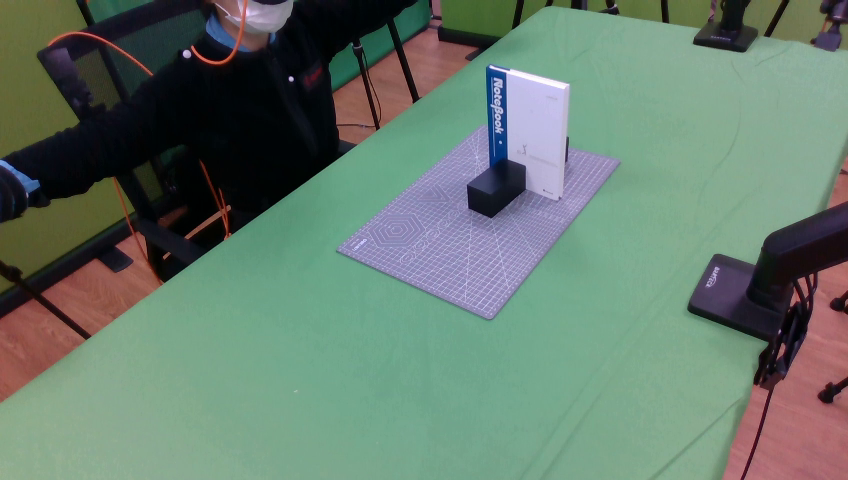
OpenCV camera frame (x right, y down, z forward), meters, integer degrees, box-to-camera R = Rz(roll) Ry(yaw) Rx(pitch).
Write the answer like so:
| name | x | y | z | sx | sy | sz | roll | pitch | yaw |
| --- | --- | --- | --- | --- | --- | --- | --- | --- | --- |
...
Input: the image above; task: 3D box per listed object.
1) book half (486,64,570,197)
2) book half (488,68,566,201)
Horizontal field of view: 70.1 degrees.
| name | x | y | z | sx | sy | sz | roll | pitch | yaw |
| --- | --- | --- | --- | --- | --- | --- | --- | --- | --- |
| book half | 0.170 | -0.176 | 1.000 | 0.147 | 0.211 | 0.016 | 26 | 51 | 33 |
| book half | 0.167 | -0.171 | 0.995 | 0.142 | 0.211 | 0.007 | 27 | 52 | 34 |
